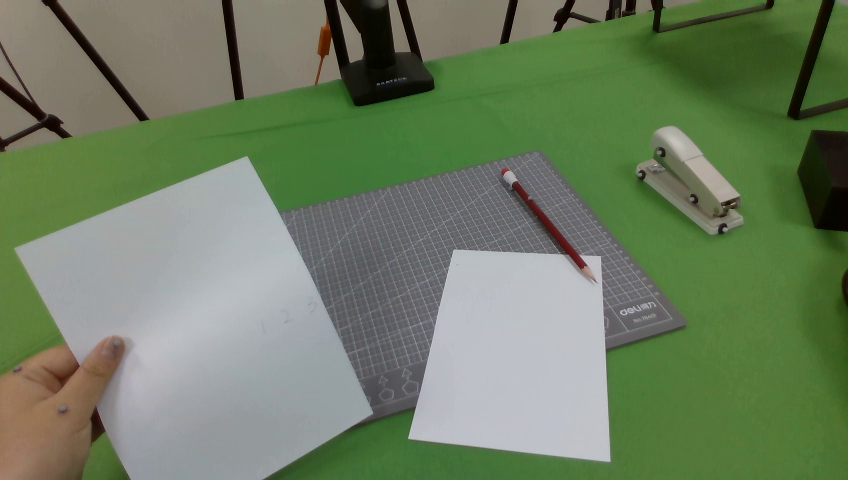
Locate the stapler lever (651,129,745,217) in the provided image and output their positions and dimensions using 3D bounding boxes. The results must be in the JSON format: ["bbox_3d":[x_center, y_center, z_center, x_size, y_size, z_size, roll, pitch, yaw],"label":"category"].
[{"bbox_3d":[0.273,-0.071,0.608,0.027,0.040,0.116,-20,44,-11],"label":"stapler lever"}]

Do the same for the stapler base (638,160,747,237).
[{"bbox_3d":[0.275,-0.053,0.626,0.041,0.025,0.129,-20,43,-11],"label":"stapler base"}]

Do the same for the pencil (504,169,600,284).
[{"bbox_3d":[0.126,-0.019,0.614,0.012,0.012,0.191,-17,43,-12],"label":"pencil"}]

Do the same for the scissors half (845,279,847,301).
[{"bbox_3d":[0.387,-0.001,0.516,0.040,0.013,0.174,10,63,27],"label":"scissors half"}]
